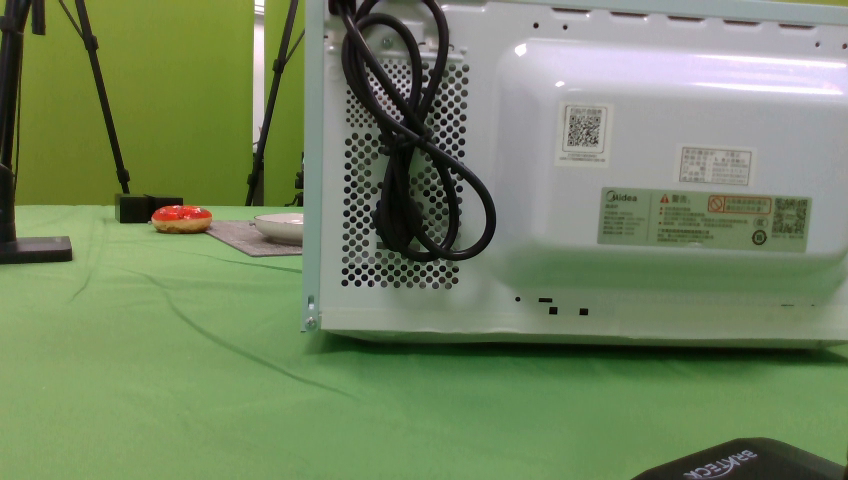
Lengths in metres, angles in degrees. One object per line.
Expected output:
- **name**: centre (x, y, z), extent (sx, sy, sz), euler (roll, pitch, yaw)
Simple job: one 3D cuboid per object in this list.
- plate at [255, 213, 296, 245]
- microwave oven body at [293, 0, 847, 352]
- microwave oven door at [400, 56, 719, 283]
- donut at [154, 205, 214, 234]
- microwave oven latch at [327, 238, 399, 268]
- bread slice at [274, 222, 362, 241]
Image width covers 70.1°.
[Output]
- **plate**: centre (-0.177, -0.018, 1.017), extent (0.208, 0.039, 0.207), euler (2, 7, 0)
- **microwave oven body**: centre (0.122, -0.055, 0.550), extent (0.442, 0.260, 0.325), euler (3, 7, -5)
- **microwave oven door**: centre (0.155, -0.077, 0.697), extent (0.356, 0.243, 0.039), euler (2, 8, -5)
- **donut**: centre (-0.426, -0.037, 1.075), extent (0.099, 0.048, 0.099), euler (2, 12, 0)
- **microwave oven latch**: centre (-0.069, 0.015, 0.694), extent (0.079, 0.029, 0.030), euler (3, 7, -3)
- **bread slice**: centre (-0.181, -0.016, 1.011), extent (0.104, 0.019, 0.132), euler (5, 8, 27)
